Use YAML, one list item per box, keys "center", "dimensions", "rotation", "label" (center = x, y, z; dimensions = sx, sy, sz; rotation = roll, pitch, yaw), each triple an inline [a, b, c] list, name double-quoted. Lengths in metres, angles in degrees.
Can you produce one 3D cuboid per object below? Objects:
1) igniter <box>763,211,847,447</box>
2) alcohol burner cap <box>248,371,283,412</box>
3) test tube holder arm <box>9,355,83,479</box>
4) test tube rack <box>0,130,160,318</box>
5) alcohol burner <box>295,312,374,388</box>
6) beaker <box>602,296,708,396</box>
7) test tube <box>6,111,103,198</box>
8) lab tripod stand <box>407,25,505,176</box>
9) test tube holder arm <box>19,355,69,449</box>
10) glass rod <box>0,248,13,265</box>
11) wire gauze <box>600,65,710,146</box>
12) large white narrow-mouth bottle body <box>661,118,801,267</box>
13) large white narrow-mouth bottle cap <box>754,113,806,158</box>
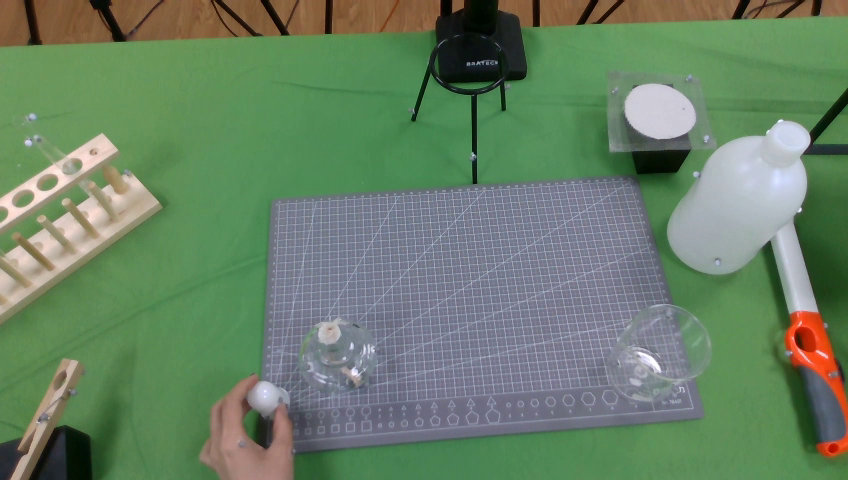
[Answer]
- center: [0.405, 0.081, 0.654]
  dimensions: [0.057, 0.025, 0.274]
  rotation: [6, 62, -8]
  label: "igniter"
- center: [-0.152, 0.145, 0.587]
  dimensions: [0.034, 0.048, 0.033]
  rotation: [9, 57, -13]
  label: "alcohol burner cap"
- center: [-0.354, 0.191, 0.546]
  dimensions: [0.013, 0.015, 0.177]
  rotation: [5, 62, 11]
  label: "test tube holder arm"
- center: [-0.427, -0.009, 0.664]
  dimensions: [0.242, 0.086, 0.066]
  rotation: [-41, 70, -19]
  label: "test tube rack"
- center: [-0.088, 0.101, 0.590]
  dimensions: [0.078, 0.120, 0.077]
  rotation: [1, 61, -1]
  label: "alcohol burner"
- center: [0.218, 0.108, 0.595]
  dimensions: [0.084, 0.101, 0.073]
  rotation: [1, 62, 2]
  label: "beaker"
- center: [-0.391, -0.087, 0.650]
  dimensions: [0.017, 0.151, 0.017]
  rotation: [-2, 64, 4]
  label: "test tube"
- center: [0.047, -0.172, 0.725]
  dimensions: [0.148, 0.132, 0.147]
  rotation: [1, 63, -1]
  label: "lab tripod stand"
- center: [-0.352, 0.151, 0.568]
  dimensions: [0.010, 0.015, 0.087]
  rotation: [5, 62, 11]
  label: "test tube holder arm"
- center: [-0.460, -0.031, 0.602]
  dimensions: [0.008, 0.201, 0.008]
  rotation: [2, 53, -2]
  label: "glass rod"
- center: [0.277, -0.165, 0.737]
  dimensions: [0.121, 0.011, 0.124]
  rotation: [3, 62, 1]
  label: "wire gauze"
- center: [0.325, -0.054, 0.630]
  dimensions: [0.102, 0.196, 0.101]
  rotation: [0, 62, 0]
  label: "large white narrow-mouth bottle body"
- center: [0.324, -0.096, 0.554]
  dimensions: [0.038, 0.024, 0.037]
  rotation: [0, 62, 0]
  label: "large white narrow-mouth bottle cap"
